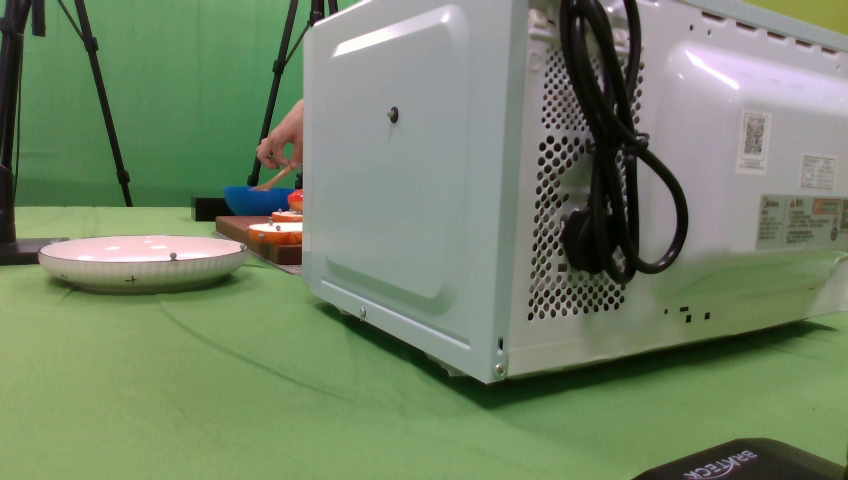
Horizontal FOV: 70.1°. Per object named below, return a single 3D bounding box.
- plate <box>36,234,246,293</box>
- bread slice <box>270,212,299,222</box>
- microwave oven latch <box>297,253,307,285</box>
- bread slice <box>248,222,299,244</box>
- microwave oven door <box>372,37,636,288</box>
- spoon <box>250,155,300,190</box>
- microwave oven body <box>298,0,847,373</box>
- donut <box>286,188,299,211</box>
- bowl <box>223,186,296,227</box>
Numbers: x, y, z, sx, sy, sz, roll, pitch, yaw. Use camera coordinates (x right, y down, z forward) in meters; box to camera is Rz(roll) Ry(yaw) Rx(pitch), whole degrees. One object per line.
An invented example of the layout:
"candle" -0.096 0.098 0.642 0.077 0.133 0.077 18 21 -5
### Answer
"plate" -0.305 0.026 0.668 0.208 0.039 0.207 3 7 0
"bread slice" -0.197 -0.038 1.051 0.132 0.019 0.104 0 6 -31
"microwave oven latch" -0.082 0.027 0.582 0.079 0.029 0.030 -1 7 -32
"bread slice" -0.174 -0.012 0.844 0.135 0.018 0.106 -6 10 -44
"microwave oven door" 0.109 -0.080 0.686 0.358 0.243 0.039 -2 9 -33
"spoon" -0.306 -0.132 1.267 0.194 0.041 0.021 -44 5 -19
"microwave oven body" 0.151 -0.055 0.543 0.444 0.260 0.324 -2 7 -33
"donut" -0.190 -0.068 1.055 0.099 0.048 0.099 3 6 0
"bowl" -0.330 -0.068 1.230 0.151 0.077 0.151 3 7 0
